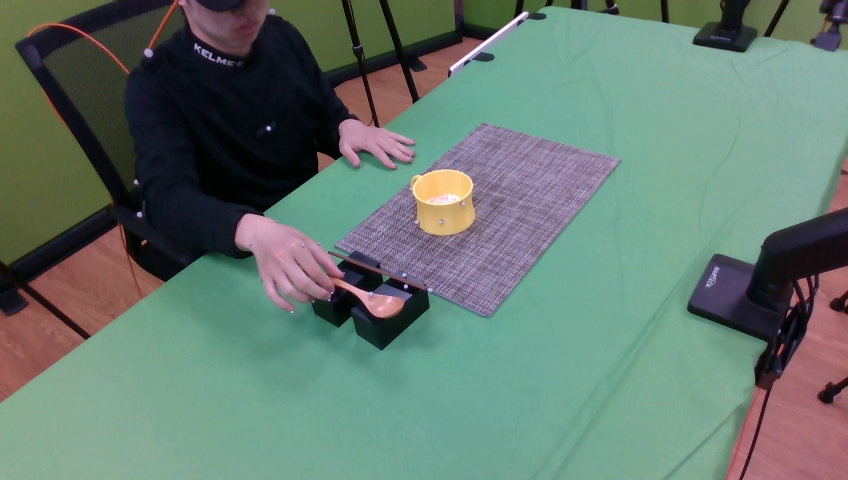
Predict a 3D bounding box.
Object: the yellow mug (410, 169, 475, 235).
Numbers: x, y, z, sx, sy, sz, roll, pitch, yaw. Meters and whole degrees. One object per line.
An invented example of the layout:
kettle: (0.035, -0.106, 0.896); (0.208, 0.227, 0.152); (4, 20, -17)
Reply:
yellow mug: (0.022, -0.069, 1.007); (0.100, 0.064, 0.129); (-36, 47, -30)

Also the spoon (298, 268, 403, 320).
spoon: (-0.106, 0.068, 0.831); (0.192, 0.022, 0.042); (21, 55, 31)

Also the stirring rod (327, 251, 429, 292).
stirring rod: (-0.068, 0.043, 0.858); (0.175, 0.006, 0.014); (18, 9, 27)
